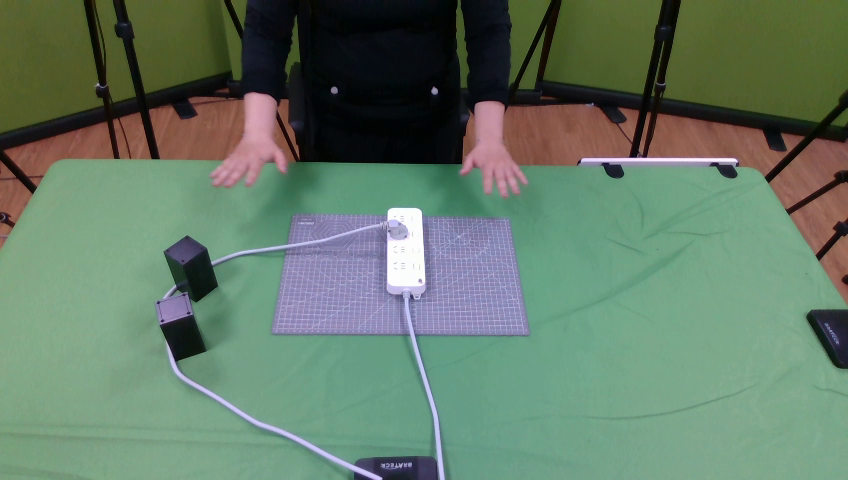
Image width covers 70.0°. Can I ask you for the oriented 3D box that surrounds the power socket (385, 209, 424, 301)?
[{"bbox_3d":[-0.039,0.019,1.165,0.072,0.033,0.225,0,46,-3],"label":"power socket"}]

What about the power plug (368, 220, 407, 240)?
[{"bbox_3d":[-0.068,-0.018,1.172,0.072,0.053,0.035,7,45,5],"label":"power plug"}]
